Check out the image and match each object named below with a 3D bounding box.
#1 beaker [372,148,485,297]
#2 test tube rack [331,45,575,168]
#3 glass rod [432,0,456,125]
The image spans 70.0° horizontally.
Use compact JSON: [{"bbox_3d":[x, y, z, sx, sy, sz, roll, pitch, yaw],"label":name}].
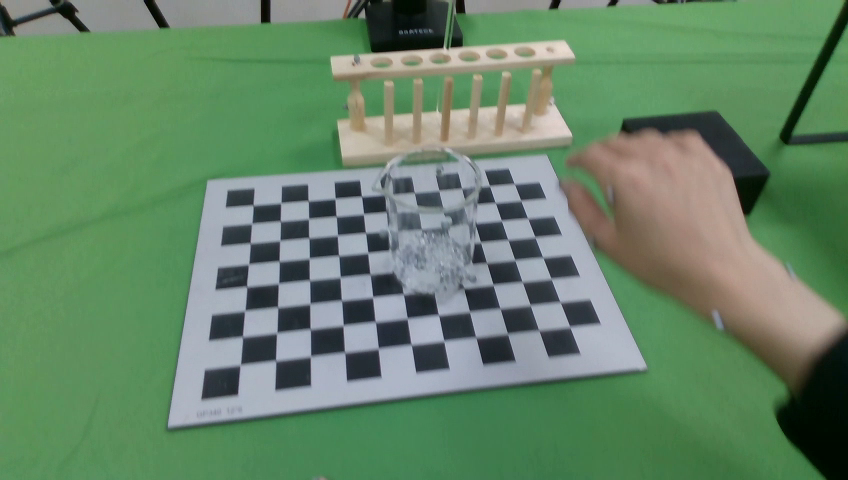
[{"bbox_3d":[0.004,-0.010,0.478,0.084,0.101,0.073,-5,45,-6],"label":"beaker"},{"bbox_3d":[0.032,-0.138,0.621,0.243,0.086,0.066,-6,45,-8],"label":"test tube rack"},{"bbox_3d":[0.023,-0.201,0.590,0.008,0.201,0.008,5,40,-4],"label":"glass rod"}]
